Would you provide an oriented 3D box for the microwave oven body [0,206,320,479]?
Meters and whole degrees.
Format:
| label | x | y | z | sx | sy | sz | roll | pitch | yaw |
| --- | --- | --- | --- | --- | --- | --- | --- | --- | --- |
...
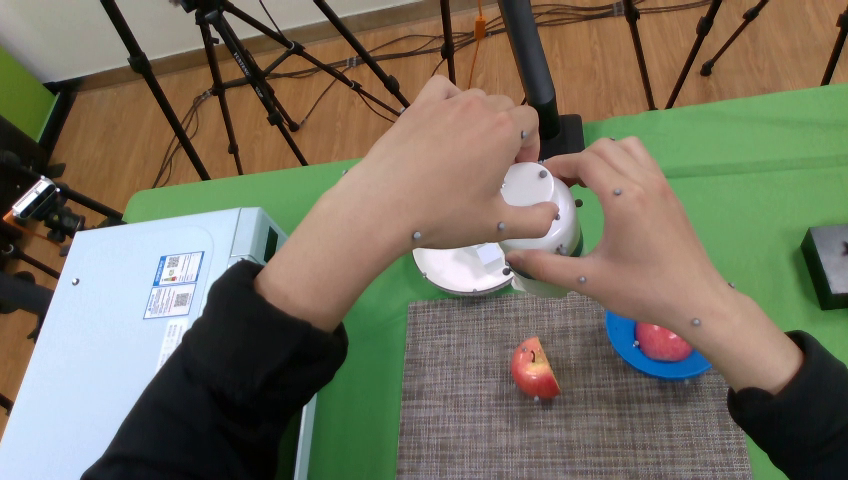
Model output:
| label | x | y | z | sx | sy | sz | roll | pitch | yaw |
| --- | --- | --- | --- | --- | --- | --- | --- | --- | --- |
| microwave oven body | -0.349 | 0.217 | 0.843 | 0.325 | 0.263 | 0.437 | -7 | 59 | 13 |

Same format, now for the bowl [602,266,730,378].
| label | x | y | z | sx | sy | sz | roll | pitch | yaw |
| --- | --- | --- | --- | --- | --- | --- | --- | --- | --- |
| bowl | 0.314 | 0.118 | 0.797 | 0.151 | 0.077 | 0.150 | -8 | 58 | 14 |

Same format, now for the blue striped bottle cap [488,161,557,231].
| label | x | y | z | sx | sy | sz | roll | pitch | yaw |
| --- | --- | --- | --- | --- | --- | --- | --- | --- | --- |
| blue striped bottle cap | 0.066 | -0.030 | 0.408 | 0.044 | 0.021 | 0.044 | -10 | 60 | 19 |

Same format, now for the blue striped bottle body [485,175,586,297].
| label | x | y | z | sx | sy | sz | roll | pitch | yaw |
| --- | --- | --- | --- | --- | --- | --- | --- | --- | --- |
| blue striped bottle body | 0.084 | -0.007 | 0.453 | 0.063 | 0.122 | 0.062 | -9 | 62 | 17 |

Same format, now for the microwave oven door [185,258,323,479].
| label | x | y | z | sx | sy | sz | roll | pitch | yaw |
| --- | --- | --- | --- | --- | --- | --- | --- | --- | --- |
| microwave oven door | -0.210 | 0.232 | 0.783 | 0.039 | 0.246 | 0.352 | -8 | 58 | 14 |

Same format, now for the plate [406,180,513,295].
| label | x | y | z | sx | sy | sz | roll | pitch | yaw |
| --- | --- | --- | --- | --- | --- | --- | --- | --- | --- |
| plate | 0.076 | -0.001 | 0.976 | 0.207 | 0.039 | 0.205 | -8 | 59 | 13 |

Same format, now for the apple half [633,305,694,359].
| label | x | y | z | sx | sy | sz | roll | pitch | yaw |
| --- | --- | --- | --- | --- | --- | --- | --- | --- | --- |
| apple half | 0.314 | 0.116 | 0.792 | 0.081 | 0.033 | 0.080 | -9 | 57 | 14 |

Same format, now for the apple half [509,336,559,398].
| label | x | y | z | sx | sy | sz | roll | pitch | yaw |
| --- | --- | --- | --- | --- | --- | --- | --- | --- | --- |
| apple half | 0.144 | 0.177 | 0.820 | 0.053 | 0.075 | 0.080 | -24 | 60 | 7 |

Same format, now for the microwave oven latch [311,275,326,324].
| label | x | y | z | sx | sy | sz | roll | pitch | yaw |
| --- | --- | --- | --- | --- | --- | --- | --- | --- | --- |
| microwave oven latch | -0.176 | 0.096 | 0.977 | 0.030 | 0.030 | 0.078 | -7 | 59 | 13 |
